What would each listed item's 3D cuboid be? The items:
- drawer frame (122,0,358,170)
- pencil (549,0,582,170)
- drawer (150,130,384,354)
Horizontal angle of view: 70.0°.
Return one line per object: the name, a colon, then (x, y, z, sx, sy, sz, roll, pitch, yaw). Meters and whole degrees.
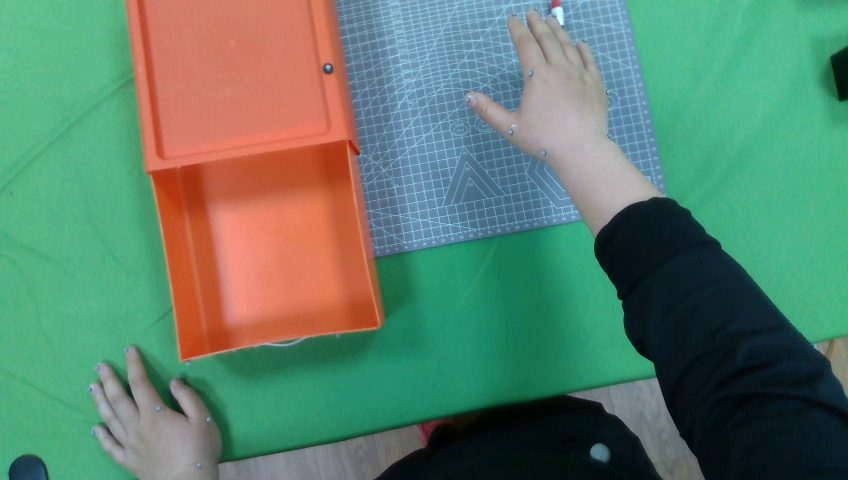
drawer frame: (-0.185, -0.183, 0.613, 0.202, 0.083, 0.213, -10, 86, 2)
pencil: (0.152, -0.169, 0.640, 0.012, 0.012, 0.194, -9, 89, 1)
drawer: (-0.154, -0.006, 0.609, 0.194, 0.073, 0.211, -10, 89, 1)
